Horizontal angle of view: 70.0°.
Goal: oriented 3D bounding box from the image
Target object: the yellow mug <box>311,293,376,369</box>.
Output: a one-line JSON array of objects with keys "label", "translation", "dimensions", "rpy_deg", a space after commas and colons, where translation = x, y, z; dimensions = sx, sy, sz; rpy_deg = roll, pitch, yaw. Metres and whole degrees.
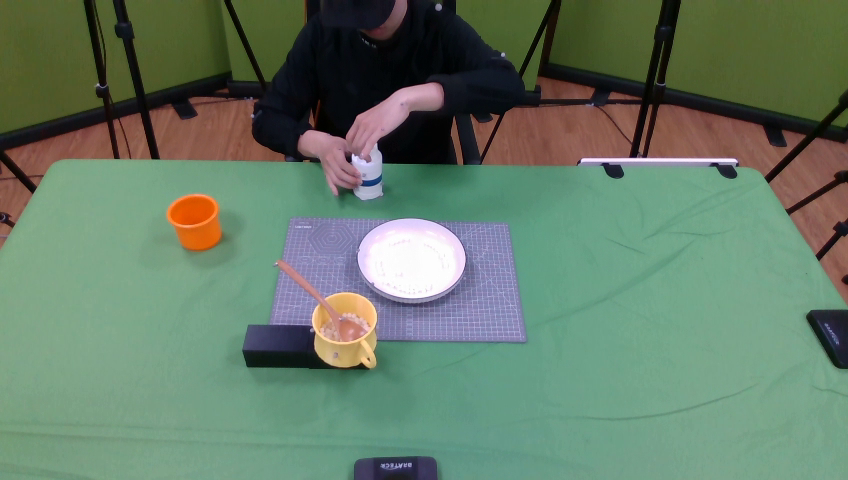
[{"label": "yellow mug", "translation": [-0.116, 0.150, 0.945], "dimensions": [0.100, 0.064, 0.130], "rpy_deg": [-29, 57, -28]}]

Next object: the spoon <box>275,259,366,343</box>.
[{"label": "spoon", "translation": [-0.161, 0.098, 0.946], "dimensions": [0.194, 0.021, 0.041], "rpy_deg": [48, 56, -5]}]

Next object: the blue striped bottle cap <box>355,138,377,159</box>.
[{"label": "blue striped bottle cap", "translation": [-0.117, -0.186, 1.224], "dimensions": [0.044, 0.021, 0.044], "rpy_deg": [0, 48, 0]}]

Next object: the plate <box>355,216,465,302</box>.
[{"label": "plate", "translation": [-0.027, 0.039, 1.144], "dimensions": [0.208, 0.039, 0.206], "rpy_deg": [2, 46, -2]}]

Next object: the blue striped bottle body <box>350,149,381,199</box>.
[{"label": "blue striped bottle body", "translation": [-0.121, -0.148, 1.263], "dimensions": [0.063, 0.121, 0.062], "rpy_deg": [2, 47, -1]}]
